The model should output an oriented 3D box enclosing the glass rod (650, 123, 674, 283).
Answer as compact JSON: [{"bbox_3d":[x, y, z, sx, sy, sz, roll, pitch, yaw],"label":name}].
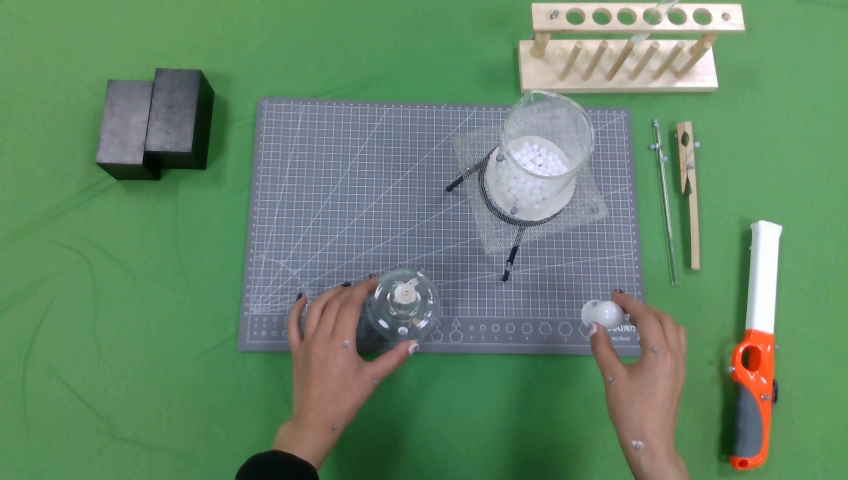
[{"bbox_3d":[0.281,-0.047,0.717,0.008,0.008,0.198,0,76,-3],"label":"glass rod"}]

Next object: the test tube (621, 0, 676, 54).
[{"bbox_3d":[0.259,-0.253,0.677,0.017,0.150,0.017,2,75,-8],"label":"test tube"}]

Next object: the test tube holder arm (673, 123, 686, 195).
[{"bbox_3d":[0.308,-0.097,0.727,0.010,0.015,0.087,-7,75,30],"label":"test tube holder arm"}]

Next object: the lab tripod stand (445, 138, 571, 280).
[{"bbox_3d":[0.089,-0.041,0.639,0.148,0.132,0.147,0,76,-1],"label":"lab tripod stand"}]

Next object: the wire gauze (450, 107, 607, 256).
[{"bbox_3d":[0.097,-0.059,0.576,0.121,0.011,0.124,-15,78,-3],"label":"wire gauze"}]

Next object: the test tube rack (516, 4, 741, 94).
[{"bbox_3d":[0.238,-0.225,0.720,0.242,0.085,0.066,-1,76,-3],"label":"test tube rack"}]

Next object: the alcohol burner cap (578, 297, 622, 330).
[{"bbox_3d":[0.176,0.071,0.596,0.034,0.048,0.033,1,82,-8],"label":"alcohol burner cap"}]

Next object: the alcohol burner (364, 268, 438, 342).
[{"bbox_3d":[-0.023,0.063,0.618,0.078,0.119,0.077,1,73,-2],"label":"alcohol burner"}]

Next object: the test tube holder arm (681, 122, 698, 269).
[{"bbox_3d":[0.312,-0.054,0.714,0.013,0.015,0.177,-7,75,30],"label":"test tube holder arm"}]

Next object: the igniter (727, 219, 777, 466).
[{"bbox_3d":[0.367,0.110,0.673,0.057,0.025,0.275,14,76,-9],"label":"igniter"}]

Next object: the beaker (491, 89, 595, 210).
[{"bbox_3d":[0.097,-0.074,0.530,0.074,0.100,0.083,-14,76,-4],"label":"beaker"}]
